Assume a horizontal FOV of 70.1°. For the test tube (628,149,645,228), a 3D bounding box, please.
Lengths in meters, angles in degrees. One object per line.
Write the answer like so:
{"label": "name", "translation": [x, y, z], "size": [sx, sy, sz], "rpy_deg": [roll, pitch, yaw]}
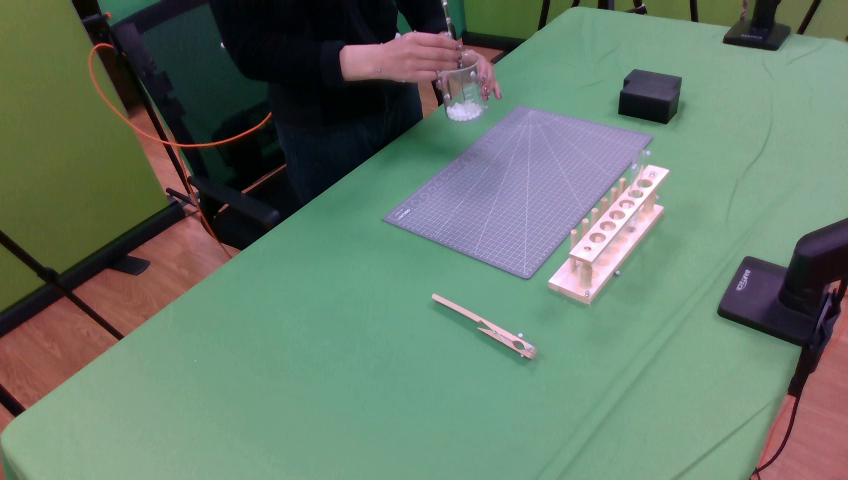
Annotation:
{"label": "test tube", "translation": [0.309, -0.071, 0.882], "size": [0.017, 0.151, 0.017], "rpy_deg": [-7, 47, 8]}

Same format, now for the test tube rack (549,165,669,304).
{"label": "test tube rack", "translation": [0.279, -0.018, 0.902], "size": [0.066, 0.085, 0.243], "rpy_deg": [24, 50, 33]}

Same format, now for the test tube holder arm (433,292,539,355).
{"label": "test tube holder arm", "translation": [0.081, 0.113, 0.832], "size": [0.177, 0.015, 0.013], "rpy_deg": [28, 82, 36]}

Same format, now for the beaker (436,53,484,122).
{"label": "beaker", "translation": [0.065, -0.266, 1.063], "size": [0.084, 0.101, 0.073], "rpy_deg": [-28, 39, -20]}

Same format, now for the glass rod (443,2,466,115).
{"label": "glass rod", "translation": [0.052, -0.296, 1.007], "size": [0.008, 0.201, 0.008], "rpy_deg": [-8, 41, 8]}

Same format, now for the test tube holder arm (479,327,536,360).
{"label": "test tube holder arm", "translation": [0.110, 0.134, 0.805], "size": [0.087, 0.015, 0.010], "rpy_deg": [28, 82, 36]}
